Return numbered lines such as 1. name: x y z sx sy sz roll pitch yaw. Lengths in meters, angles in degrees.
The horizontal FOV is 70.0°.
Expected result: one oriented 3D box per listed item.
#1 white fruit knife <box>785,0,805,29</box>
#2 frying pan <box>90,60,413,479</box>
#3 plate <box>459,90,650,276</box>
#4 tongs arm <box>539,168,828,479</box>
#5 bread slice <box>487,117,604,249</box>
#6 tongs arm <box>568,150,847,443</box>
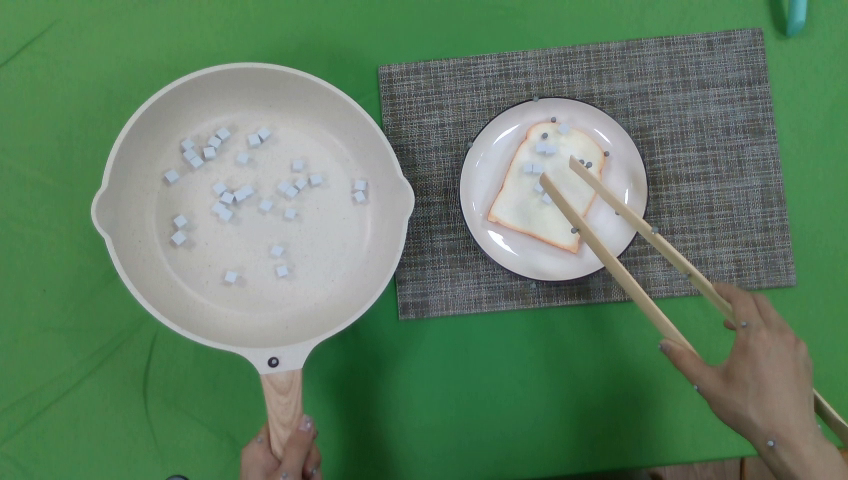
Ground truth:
1. white fruit knife: 0.414 -0.345 0.672 0.016 0.027 0.208 -5 100 0
2. frying pan: -0.150 0.065 0.602 0.308 0.103 0.485 -4 76 -18
3. plate: 0.144 -0.062 0.680 0.207 0.039 0.207 0 86 2
4. tongs arm: 0.233 0.070 0.564 0.028 0.028 0.384 -32 68 -14
5. bread slice: 0.140 -0.070 0.682 0.107 0.018 0.134 18 88 2
6. tongs arm: 0.255 0.056 0.568 0.051 0.027 0.382 -37 69 -12
